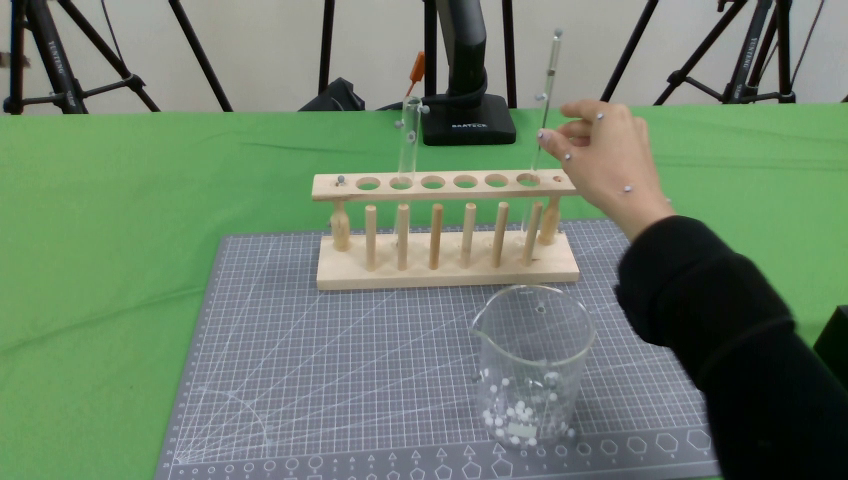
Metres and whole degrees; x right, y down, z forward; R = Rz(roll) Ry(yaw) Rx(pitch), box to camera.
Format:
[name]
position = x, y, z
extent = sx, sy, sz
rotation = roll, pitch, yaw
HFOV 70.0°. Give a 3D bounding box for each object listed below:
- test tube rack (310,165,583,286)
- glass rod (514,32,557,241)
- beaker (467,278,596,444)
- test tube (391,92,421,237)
[test tube rack]
position = 0.021, -0.014, 0.559
extent = 0.242, 0.086, 0.066
rotation = -2, 40, -4
[glass rod]
position = 0.098, -0.084, 0.542
extent = 0.008, 0.201, 0.008
rotation = 3, 33, -2
[beaker]
position = 0.071, 0.088, 0.425
extent = 0.084, 0.101, 0.073
rotation = -1, 39, -1
[test tube]
position = -0.017, -0.061, 0.536
extent = 0.017, 0.151, 0.017
rotation = 4, 41, -3
